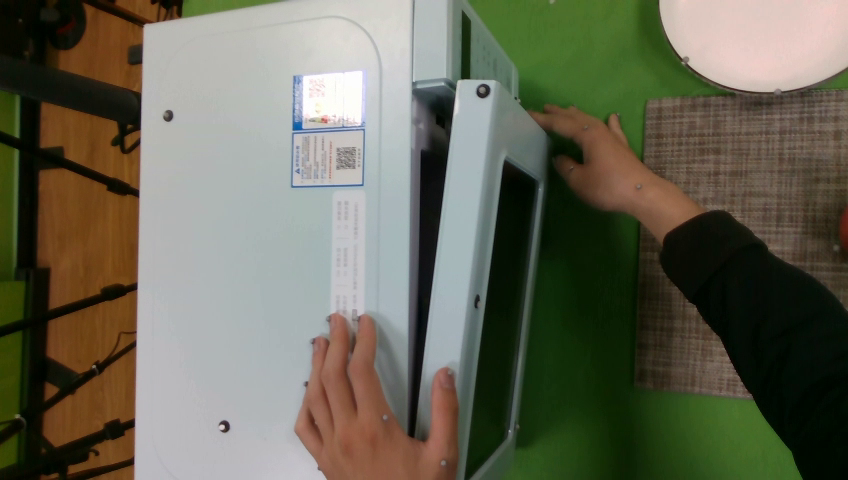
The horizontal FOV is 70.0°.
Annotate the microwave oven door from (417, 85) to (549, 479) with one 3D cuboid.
[{"bbox_3d":[0.059,0.064,0.555,0.039,0.245,0.355,6,91,22],"label":"microwave oven door"}]

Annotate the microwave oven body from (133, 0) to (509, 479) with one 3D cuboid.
[{"bbox_3d":[-0.093,0.022,0.619,0.325,0.261,0.441,0,89,21],"label":"microwave oven body"}]

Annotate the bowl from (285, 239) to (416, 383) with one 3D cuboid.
[{"bbox_3d":[-0.065,0.069,0.649,0.150,0.077,0.151,4,99,26],"label":"bowl"}]

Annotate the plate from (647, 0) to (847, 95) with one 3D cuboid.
[{"bbox_3d":[0.326,-0.240,0.585,0.207,0.039,0.207,0,89,21],"label":"plate"}]

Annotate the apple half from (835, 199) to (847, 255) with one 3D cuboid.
[{"bbox_3d":[0.394,-0.008,0.532,0.053,0.075,0.080,-20,85,25],"label":"apple half"}]

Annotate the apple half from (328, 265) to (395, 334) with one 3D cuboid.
[{"bbox_3d":[-0.070,0.068,0.639,0.081,0.033,0.081,4,105,18],"label":"apple half"}]

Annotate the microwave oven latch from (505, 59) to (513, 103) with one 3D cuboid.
[{"bbox_3d":[0.080,-0.154,0.659,0.030,0.029,0.079,6,92,20],"label":"microwave oven latch"}]
